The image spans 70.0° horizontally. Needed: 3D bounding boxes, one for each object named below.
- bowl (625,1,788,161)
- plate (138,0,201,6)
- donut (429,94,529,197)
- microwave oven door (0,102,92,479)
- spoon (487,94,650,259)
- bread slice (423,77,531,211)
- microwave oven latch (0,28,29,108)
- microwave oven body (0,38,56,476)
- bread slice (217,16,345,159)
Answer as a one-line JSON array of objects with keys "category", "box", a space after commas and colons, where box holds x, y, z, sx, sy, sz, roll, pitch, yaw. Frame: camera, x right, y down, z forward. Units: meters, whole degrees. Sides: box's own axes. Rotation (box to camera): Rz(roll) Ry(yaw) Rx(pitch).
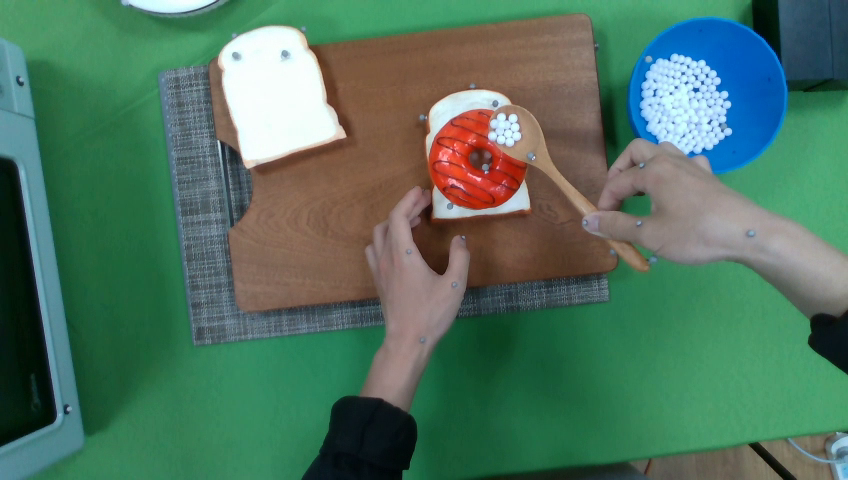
[{"category": "bowl", "box": [0.269, -0.150, 0.609, 0.151, 0.077, 0.151, 0, 91, 2]}, {"category": "plate", "box": [-0.266, -0.347, 0.636, 0.208, 0.039, 0.207, 0, 91, 1]}, {"category": "donut", "box": [0.053, -0.091, 0.587, 0.099, 0.048, 0.099, 0, 92, 1]}, {"category": "microwave oven door", "box": [-0.403, 0.041, 0.528, 0.039, 0.244, 0.355, -10, 91, 2]}, {"category": "spoon", "box": [0.116, -0.055, 0.501, 0.041, 0.022, 0.192, -40, 60, 8]}, {"category": "bread slice", "box": [0.050, -0.099, 0.616, 0.105, 0.019, 0.131, -8, 92, 0]}, {"category": "microwave oven latch", "box": [-0.434, -0.176, 0.624, 0.030, 0.029, 0.079, -9, 92, 1]}, {"category": "microwave oven body", "box": [-0.554, 0.023, 0.535, 0.326, 0.260, 0.441, -9, 92, 1]}, {"category": "bread slice", "box": [-0.153, -0.158, 0.617, 0.107, 0.018, 0.134, -21, 90, 1]}]
